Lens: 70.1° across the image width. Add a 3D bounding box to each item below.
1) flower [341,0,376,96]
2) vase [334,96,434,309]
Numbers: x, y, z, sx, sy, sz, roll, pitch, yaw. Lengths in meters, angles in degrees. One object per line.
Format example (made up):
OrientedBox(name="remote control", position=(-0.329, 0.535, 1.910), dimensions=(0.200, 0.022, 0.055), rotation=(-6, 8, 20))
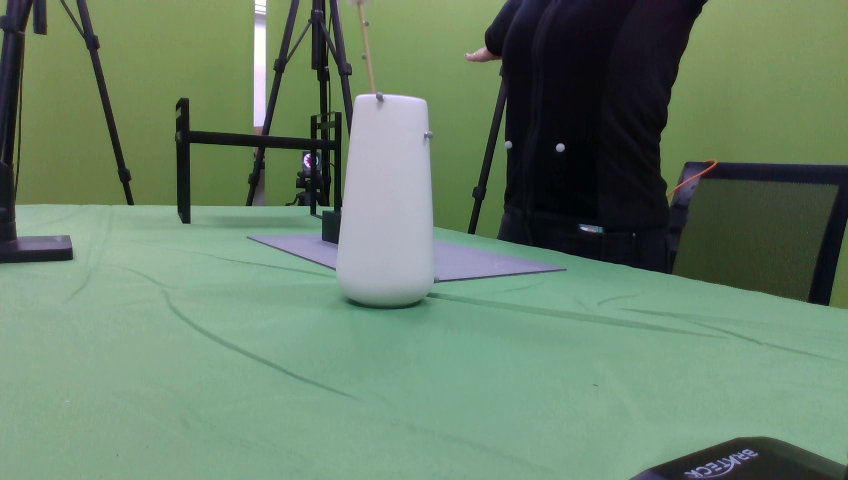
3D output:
OrientedBox(name="flower", position=(-0.047, -0.119, 0.591), dimensions=(0.044, 0.361, 0.038), rotation=(-8, -7, -22))
OrientedBox(name="vase", position=(-0.038, -0.036, 0.590), dimensions=(0.098, 0.200, 0.098), rotation=(1, 8, 0))
